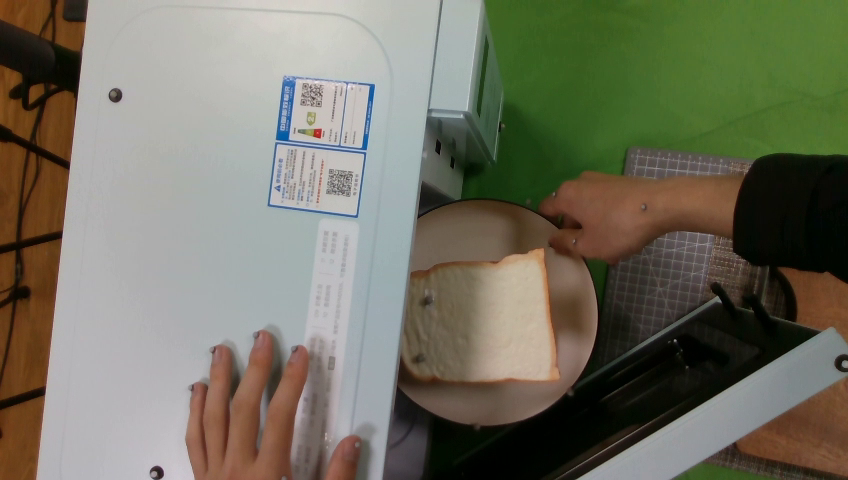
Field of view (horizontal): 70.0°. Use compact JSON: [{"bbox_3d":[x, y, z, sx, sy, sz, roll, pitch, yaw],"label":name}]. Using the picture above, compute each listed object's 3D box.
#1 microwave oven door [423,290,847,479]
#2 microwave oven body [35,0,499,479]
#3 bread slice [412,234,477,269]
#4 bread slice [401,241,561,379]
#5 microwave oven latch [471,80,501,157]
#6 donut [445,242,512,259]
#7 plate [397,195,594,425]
[{"bbox_3d":[0.131,0.162,0.501,0.356,0.244,0.039,-36,83,9],"label":"microwave oven door"},{"bbox_3d":[-0.122,0.031,0.553,0.325,0.260,0.441,7,92,10],"label":"microwave oven body"},{"bbox_3d":[0.027,0.046,0.582,0.132,0.019,0.105,7,103,-5],"label":"bread slice"},{"bbox_3d":[0.040,0.065,0.499,0.134,0.018,0.107,-11,92,16],"label":"bread slice"},{"bbox_3d":[0.062,-0.126,0.617,0.030,0.029,0.079,7,92,10],"label":"microwave oven latch"},{"bbox_3d":[0.054,0.048,0.540,0.099,0.048,0.099,1,112,2],"label":"donut"},{"bbox_3d":[0.049,0.063,0.558,0.207,0.039,0.207,0,92,8],"label":"plate"}]
